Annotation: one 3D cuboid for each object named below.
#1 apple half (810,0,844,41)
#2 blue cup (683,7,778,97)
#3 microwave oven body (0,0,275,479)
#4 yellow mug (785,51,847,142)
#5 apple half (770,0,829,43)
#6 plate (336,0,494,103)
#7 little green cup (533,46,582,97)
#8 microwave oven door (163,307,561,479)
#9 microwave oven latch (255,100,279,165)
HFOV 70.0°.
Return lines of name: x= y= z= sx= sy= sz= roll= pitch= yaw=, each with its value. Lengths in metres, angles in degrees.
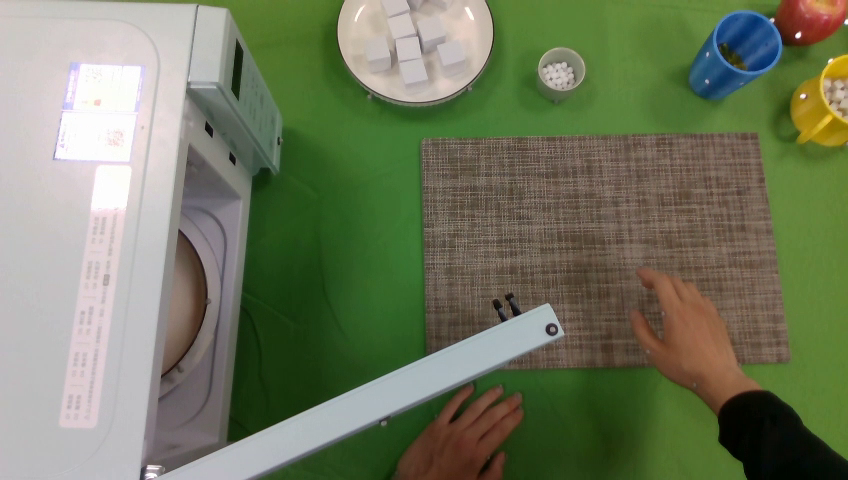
apple half: x=0.536 y=-0.305 z=0.812 sx=0.033 sy=0.081 sz=0.081 roll=4 pitch=77 yaw=3
blue cup: x=0.385 y=-0.233 z=0.779 sx=0.093 sy=0.100 sz=0.092 roll=0 pitch=79 yaw=-2
microwave oven body: x=-0.349 y=0.012 z=0.623 sx=0.326 sy=0.261 sz=0.439 roll=2 pitch=79 yaw=-2
yellow mug: x=0.529 y=-0.176 z=0.789 sx=0.131 sy=0.064 sz=0.099 roll=-43 pitch=83 yaw=-8
apple half: x=0.497 y=-0.308 z=0.813 sx=0.053 sy=0.075 sz=0.080 roll=4 pitch=81 yaw=3
plate: x=-0.012 y=-0.276 z=0.810 sx=0.208 sy=0.039 sz=0.206 roll=0 pitch=78 yaw=-1
little green cup: x=0.174 y=-0.221 z=0.804 sx=0.061 sy=0.039 sz=0.061 roll=0 pitch=77 yaw=-1
microwave oven door: x=-0.054 y=0.157 z=0.595 sx=0.356 sy=0.245 sz=0.039 roll=-23 pitch=78 yaw=-6
microwave oven latch: x=-0.199 y=-0.135 z=0.756 sx=0.030 sy=0.029 sz=0.079 roll=4 pitch=79 yaw=-1
